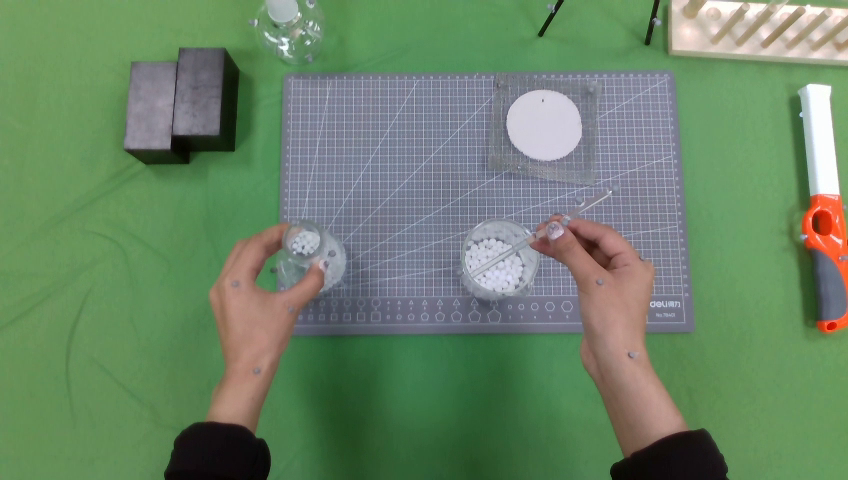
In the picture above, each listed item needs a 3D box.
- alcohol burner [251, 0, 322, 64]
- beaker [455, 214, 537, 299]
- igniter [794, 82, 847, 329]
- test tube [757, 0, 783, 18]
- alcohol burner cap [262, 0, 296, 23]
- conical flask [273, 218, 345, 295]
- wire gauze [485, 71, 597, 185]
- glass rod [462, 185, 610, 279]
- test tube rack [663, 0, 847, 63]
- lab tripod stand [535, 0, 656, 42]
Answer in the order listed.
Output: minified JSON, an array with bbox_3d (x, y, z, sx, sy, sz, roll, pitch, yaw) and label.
[{"bbox_3d":[-0.152,-0.241,0.656,0.078,0.119,0.077,0,81,2],"label":"alcohol burner"},{"bbox_3d":[0.071,0.024,0.614,0.074,0.100,0.083,-36,82,-6],"label":"beaker"},{"bbox_3d":[0.436,-0.041,0.666,0.057,0.025,0.275,3,80,-9],"label":"igniter"},{"bbox_3d":[0.386,-0.275,0.627,0.017,0.151,0.017,0,79,3],"label":"test tube"},{"bbox_3d":[-0.152,-0.250,0.621,0.034,0.048,0.033,0,73,-1],"label":"alcohol burner cap"},{"bbox_3d":[-0.116,0.010,0.593,0.075,0.122,0.075,1,79,-7],"label":"conical flask"},{"bbox_3d":[0.134,-0.130,0.688,0.125,0.011,0.121,8,80,-1],"label":"wire gauze"},{"bbox_3d":[0.090,-0.002,0.539,0.008,0.200,0.008,15,60,-27],"label":"glass rod"},{"bbox_3d":[0.403,-0.251,0.673,0.242,0.085,0.066,3,79,1],"label":"test tube rack"},{"bbox_3d":[0.197,-0.283,0.654,0.148,0.132,0.148,0,82,1],"label":"lab tripod stand"}]
